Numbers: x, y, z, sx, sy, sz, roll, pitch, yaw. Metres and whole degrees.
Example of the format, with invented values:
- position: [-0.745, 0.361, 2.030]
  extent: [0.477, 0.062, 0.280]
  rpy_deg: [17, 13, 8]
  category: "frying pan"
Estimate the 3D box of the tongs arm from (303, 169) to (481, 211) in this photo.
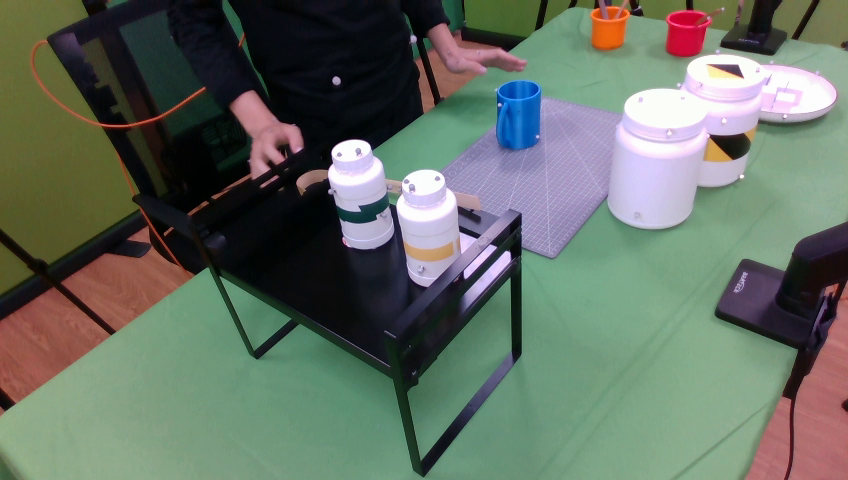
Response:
- position: [-0.070, -0.086, 1.048]
  extent: [0.381, 0.027, 0.051]
  rpy_deg: [16, 47, 38]
  category: "tongs arm"

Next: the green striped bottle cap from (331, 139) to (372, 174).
- position: [-0.080, -0.092, 0.665]
  extent: [0.044, 0.020, 0.044]
  rpy_deg: [-3, 40, 3]
  category: "green striped bottle cap"

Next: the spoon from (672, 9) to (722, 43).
- position: [0.606, -0.476, 1.345]
  extent: [0.042, 0.021, 0.193]
  rpy_deg: [-6, -3, -2]
  category: "spoon"

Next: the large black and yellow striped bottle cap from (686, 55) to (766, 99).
- position: [0.474, -0.258, 0.952]
  extent: [0.115, 0.019, 0.114]
  rpy_deg: [-5, 41, 5]
  category: "large black and yellow striped bottle cap"

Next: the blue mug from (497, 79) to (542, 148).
- position: [0.175, -0.234, 1.156]
  extent: [0.081, 0.106, 0.117]
  rpy_deg: [24, 50, 32]
  category: "blue mug"

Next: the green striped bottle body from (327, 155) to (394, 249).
- position: [-0.073, -0.053, 0.699]
  extent: [0.063, 0.120, 0.063]
  rpy_deg: [-5, 41, 4]
  category: "green striped bottle body"

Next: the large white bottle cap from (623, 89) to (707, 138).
- position: [0.352, -0.187, 0.886]
  extent: [0.115, 0.018, 0.114]
  rpy_deg: [-4, 41, 4]
  category: "large white bottle cap"

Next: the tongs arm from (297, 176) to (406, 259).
- position: [-0.127, -0.041, 1.007]
  extent: [0.028, 0.028, 0.384]
  rpy_deg: [-37, 38, -20]
  category: "tongs arm"

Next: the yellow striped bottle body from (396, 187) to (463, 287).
- position: [0.006, -0.013, 0.638]
  extent: [0.063, 0.121, 0.062]
  rpy_deg: [-5, 41, 4]
  category: "yellow striped bottle body"

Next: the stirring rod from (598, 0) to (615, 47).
- position: [0.437, -0.551, 1.462]
  extent: [0.014, 0.006, 0.175]
  rpy_deg: [-11, 83, 1]
  category: "stirring rod"

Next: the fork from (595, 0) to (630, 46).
- position: [0.480, -0.556, 1.453]
  extent: [0.028, 0.019, 0.207]
  rpy_deg: [41, 103, 40]
  category: "fork"

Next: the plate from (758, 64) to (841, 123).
- position: [0.695, -0.283, 1.189]
  extent: [0.207, 0.039, 0.206]
  rpy_deg: [-4, 40, 4]
  category: "plate"

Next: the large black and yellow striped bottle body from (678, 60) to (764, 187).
- position: [0.482, -0.196, 1.008]
  extent: [0.131, 0.185, 0.130]
  rpy_deg: [-4, 41, 4]
  category: "large black and yellow striped bottle body"

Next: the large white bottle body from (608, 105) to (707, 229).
- position: [0.361, -0.124, 0.941]
  extent: [0.130, 0.185, 0.130]
  rpy_deg: [-5, 41, 4]
  category: "large white bottle body"

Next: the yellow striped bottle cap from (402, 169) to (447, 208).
- position: [0.000, -0.052, 0.605]
  extent: [0.044, 0.019, 0.044]
  rpy_deg: [-5, 42, 5]
  category: "yellow striped bottle cap"
